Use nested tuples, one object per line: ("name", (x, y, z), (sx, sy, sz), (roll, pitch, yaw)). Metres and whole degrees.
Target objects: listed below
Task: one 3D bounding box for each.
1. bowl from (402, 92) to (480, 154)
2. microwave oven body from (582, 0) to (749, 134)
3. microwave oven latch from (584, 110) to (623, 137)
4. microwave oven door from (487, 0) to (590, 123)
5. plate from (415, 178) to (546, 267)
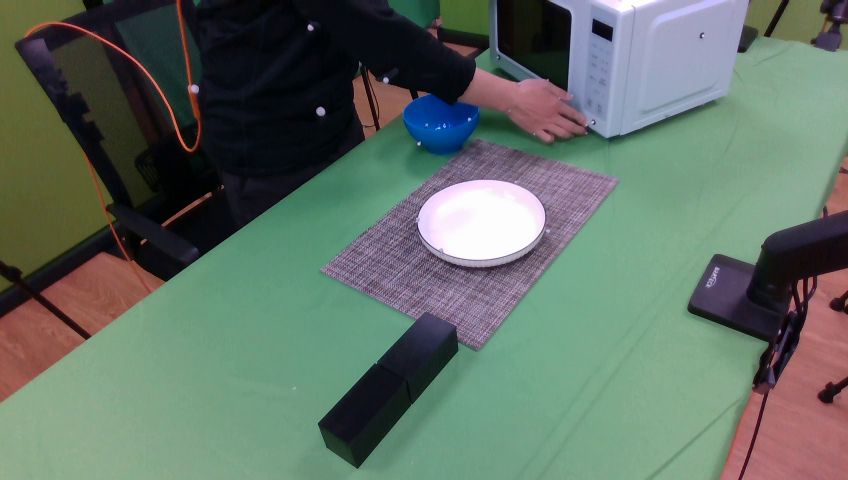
("bowl", (0.036, -0.220, 1.180), (0.151, 0.077, 0.150), (-4, 40, 4))
("microwave oven body", (0.382, -0.444, 1.246), (0.327, 0.261, 0.437), (-22, 42, -16))
("microwave oven latch", (0.337, -0.222, 1.142), (0.030, 0.029, 0.078), (-21, 42, -14))
("microwave oven door", (0.232, -0.419, 1.231), (0.039, 0.245, 0.352), (-22, 43, -16))
("plate", (0.091, -0.026, 0.970), (0.207, 0.039, 0.206), (-4, 41, 4))
